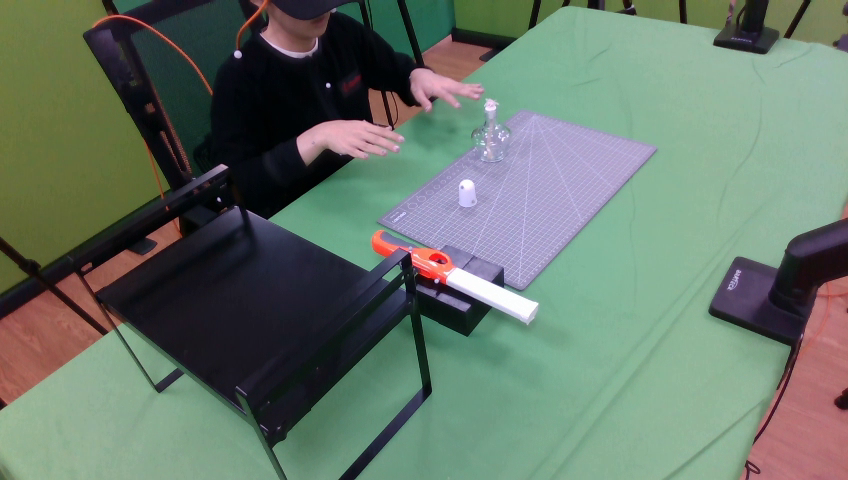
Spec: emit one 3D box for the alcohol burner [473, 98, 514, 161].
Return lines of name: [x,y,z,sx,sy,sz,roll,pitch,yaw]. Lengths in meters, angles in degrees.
alcohol burner: [0.127,-0.208,1.123,0.078,0.119,0.077,-5,39,5]

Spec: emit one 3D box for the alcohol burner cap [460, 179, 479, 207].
alcohol burner cap: [0.078,-0.083,1.041,0.034,0.048,0.033,-5,42,5]

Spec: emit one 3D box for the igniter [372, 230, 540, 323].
igniter: [0.032,0.045,0.842,0.274,0.025,0.057,24,47,29]
